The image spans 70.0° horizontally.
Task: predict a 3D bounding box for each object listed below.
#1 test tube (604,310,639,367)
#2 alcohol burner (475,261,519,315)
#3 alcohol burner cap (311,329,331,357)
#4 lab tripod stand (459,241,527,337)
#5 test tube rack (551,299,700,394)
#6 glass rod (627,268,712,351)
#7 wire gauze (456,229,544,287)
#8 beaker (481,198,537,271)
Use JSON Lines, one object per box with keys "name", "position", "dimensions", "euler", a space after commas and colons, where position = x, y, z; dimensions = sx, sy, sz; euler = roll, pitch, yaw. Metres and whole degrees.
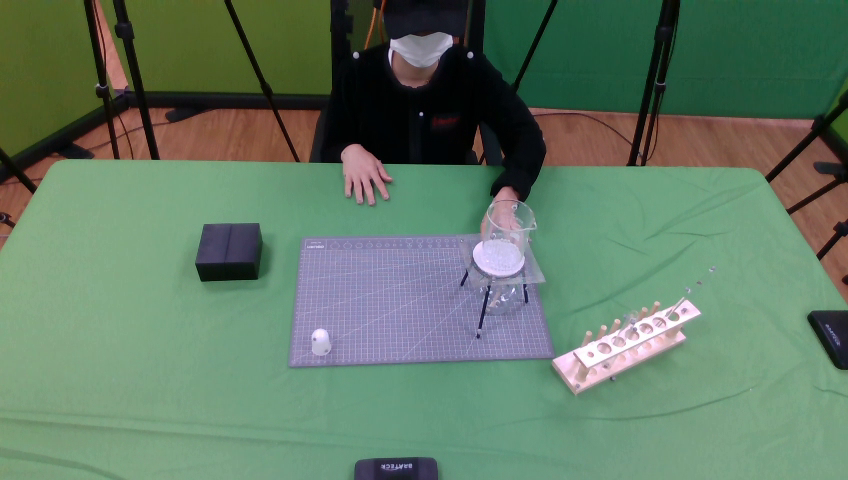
{"name": "test tube", "position": [0.310, 0.158, 0.957], "dimensions": [0.017, 0.151, 0.017], "euler": [1, 49, -1]}
{"name": "alcohol burner", "position": [0.131, 0.078, 1.067], "dimensions": [0.078, 0.119, 0.077], "euler": [2, 48, -2]}
{"name": "alcohol burner cap", "position": [-0.173, 0.168, 1.005], "dimensions": [0.034, 0.048, 0.033], "euler": [2, 46, -2]}
{"name": "lab tripod stand", "position": [0.122, 0.075, 1.054], "dimensions": [0.148, 0.132, 0.147], "euler": [3, 44, -3]}
{"name": "test tube rack", "position": [0.339, 0.166, 1.021], "dimensions": [0.242, 0.085, 0.066], "euler": [-19, 50, -21]}
{"name": "glass rod", "position": [0.399, 0.117, 0.995], "dimensions": [0.008, 0.200, 0.008], "euler": [26, 29, -15]}
{"name": "wire gauze", "position": [0.125, 0.030, 1.008], "dimensions": [0.125, 0.011, 0.120], "euler": [-3, 48, -11]}
{"name": "beaker", "position": [0.133, -0.005, 0.974], "dimensions": [0.084, 0.101, 0.074], "euler": [23, 49, 16]}
